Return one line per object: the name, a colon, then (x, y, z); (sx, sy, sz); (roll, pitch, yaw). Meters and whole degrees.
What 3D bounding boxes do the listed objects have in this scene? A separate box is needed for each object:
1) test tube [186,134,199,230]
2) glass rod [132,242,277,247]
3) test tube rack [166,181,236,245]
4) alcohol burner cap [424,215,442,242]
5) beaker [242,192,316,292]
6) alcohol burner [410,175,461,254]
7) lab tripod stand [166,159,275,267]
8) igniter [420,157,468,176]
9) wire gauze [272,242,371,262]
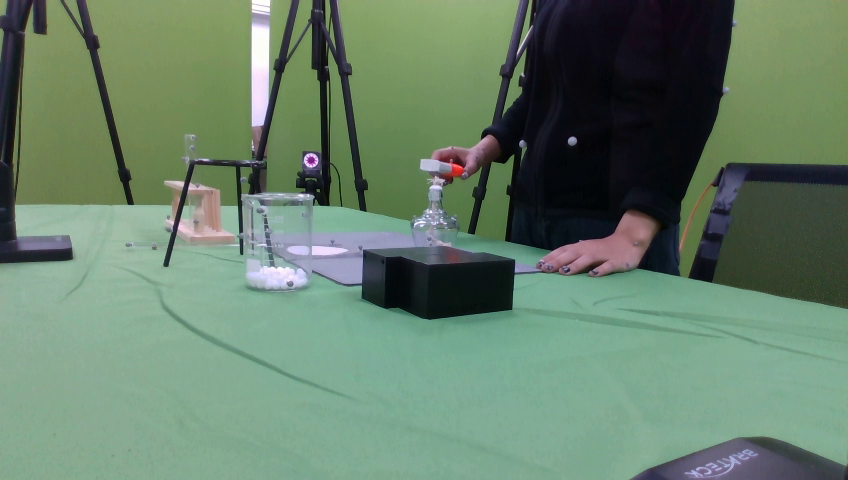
test tube: (-0.360, -0.089, 0.946); (0.017, 0.150, 0.017); (0, 10, 0)
glass rod: (-0.316, 0.007, 0.885); (0.201, 0.008, 0.008); (0, 7, -27)
test tube rack: (-0.383, -0.051, 1.024); (0.067, 0.085, 0.241); (-2, 9, -31)
alcohol burner cap: (0.017, -0.022, 1.098); (0.034, 0.048, 0.034); (2, 9, 0)
beaker: (-0.157, 0.000, 0.642); (0.084, 0.100, 0.074); (4, 7, 19)
alcohol burner: (0.018, -0.040, 0.931); (0.078, 0.119, 0.078); (0, 7, 0)
lab tripod stand: (-0.249, -0.036, 0.764); (0.148, 0.131, 0.148); (2, 9, 0)
igniter: (0.039, -0.130, 1.077); (0.057, 0.025, 0.277); (7, 5, 12)
wire gauze: (-0.155, 0.013, 0.877); (0.122, 0.011, 0.124); (-3, 10, -29)
